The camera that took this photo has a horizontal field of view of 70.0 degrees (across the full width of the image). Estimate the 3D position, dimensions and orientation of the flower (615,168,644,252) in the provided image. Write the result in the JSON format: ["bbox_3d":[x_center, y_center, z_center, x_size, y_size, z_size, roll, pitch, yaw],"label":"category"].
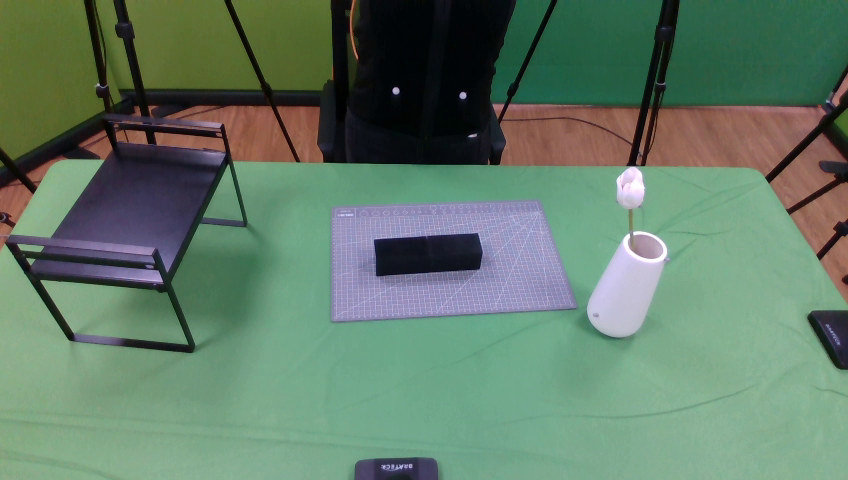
[{"bbox_3d":[0.330,0.024,0.959,0.038,0.364,0.044,-5,51,17],"label":"flower"}]

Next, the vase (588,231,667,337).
[{"bbox_3d":[0.343,0.078,1.023,0.098,0.201,0.097,2,47,-2],"label":"vase"}]
